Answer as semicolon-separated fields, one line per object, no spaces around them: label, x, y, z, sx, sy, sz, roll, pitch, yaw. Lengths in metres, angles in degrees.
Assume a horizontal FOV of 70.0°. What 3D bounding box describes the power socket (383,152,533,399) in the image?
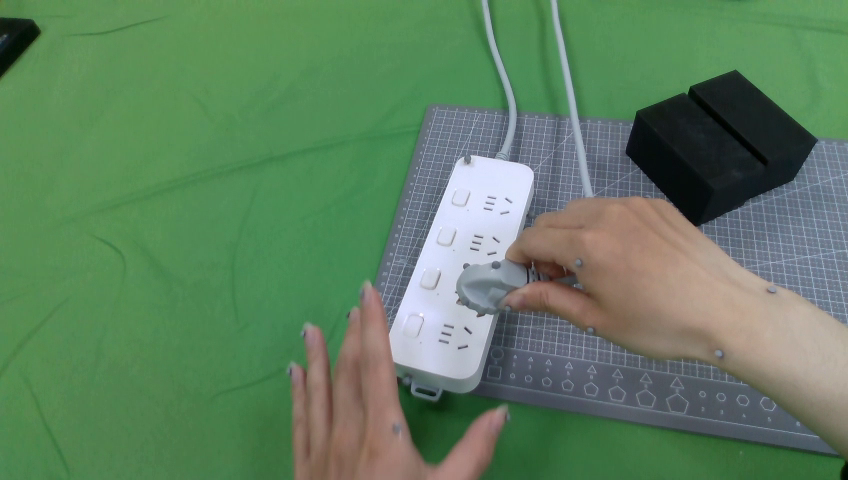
power socket;0.032;0.016;0.484;0.072;0.033;0.225;14;57;12

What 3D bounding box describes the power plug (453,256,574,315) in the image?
power plug;0.054;0.038;0.399;0.072;0.053;0.035;26;51;-2
